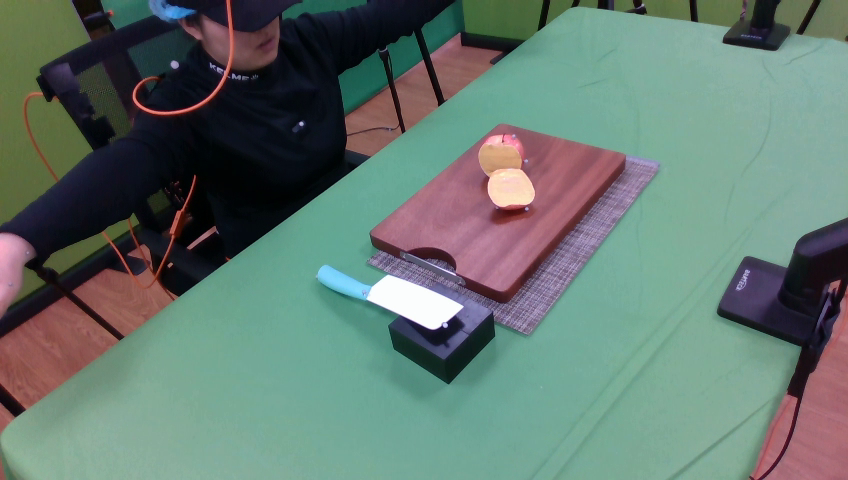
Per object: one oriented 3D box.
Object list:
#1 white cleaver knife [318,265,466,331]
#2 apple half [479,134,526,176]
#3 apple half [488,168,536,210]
[{"bbox_3d":[-0.056,0.075,0.871,0.284,0.021,0.066,17,42,43],"label":"white cleaver knife"},{"bbox_3d":[0.141,-0.149,1.052,0.080,0.075,0.053,7,39,24],"label":"apple half"},{"bbox_3d":[0.143,-0.080,0.995,0.081,0.033,0.081,1,63,-2],"label":"apple half"}]
